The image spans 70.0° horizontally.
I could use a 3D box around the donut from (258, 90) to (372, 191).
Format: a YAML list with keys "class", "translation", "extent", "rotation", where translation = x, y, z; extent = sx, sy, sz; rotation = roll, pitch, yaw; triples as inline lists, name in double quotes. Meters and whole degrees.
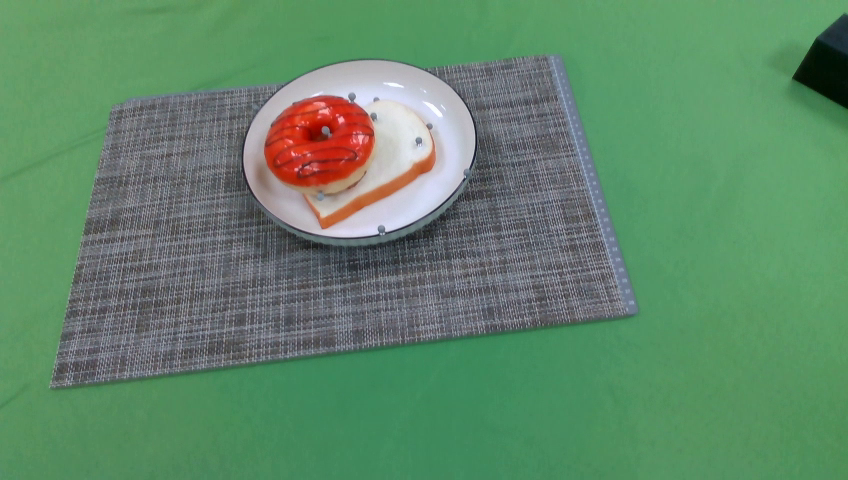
- class: "donut"
  translation: [-0.093, -0.086, 0.517]
  extent: [0.099, 0.048, 0.098]
  rotation: [-3, 60, 5]

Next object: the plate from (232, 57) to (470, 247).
- class: "plate"
  translation: [-0.063, -0.079, 0.545]
  extent: [0.207, 0.039, 0.205]
  rotation: [-1, 59, 2]

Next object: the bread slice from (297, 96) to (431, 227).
- class: "bread slice"
  translation: [-0.063, -0.081, 0.549]
  extent: [0.131, 0.019, 0.104]
  rotation: [-30, 62, -13]
